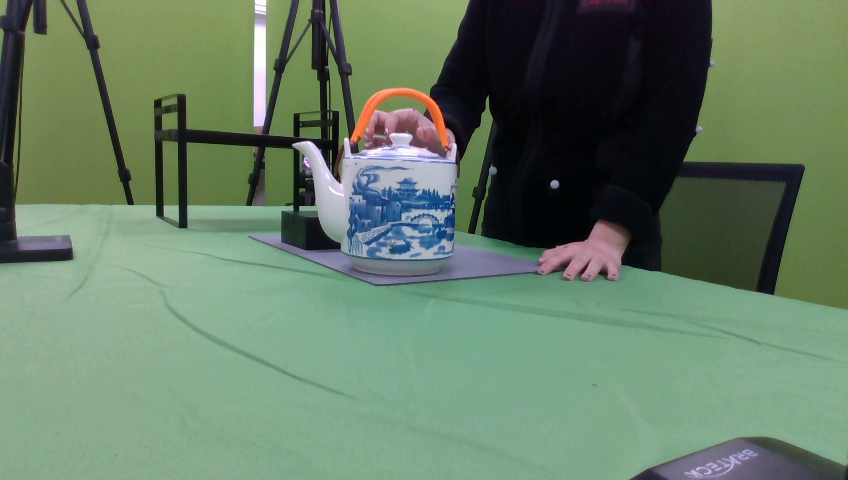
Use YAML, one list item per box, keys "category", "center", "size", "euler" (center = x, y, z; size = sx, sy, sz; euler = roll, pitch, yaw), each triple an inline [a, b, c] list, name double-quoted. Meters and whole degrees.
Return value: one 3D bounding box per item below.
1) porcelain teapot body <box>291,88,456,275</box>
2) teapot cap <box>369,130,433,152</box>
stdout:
- category: "porcelain teapot body"
  center: [-0.060, -0.076, 0.753]
  size: [0.206, 0.225, 0.145]
  euler: [0, 7, -12]
- category: "teapot cap"
  center: [-0.030, -0.114, 0.753]
  size: [0.085, 0.044, 0.085]
  euler: [0, 10, 0]
